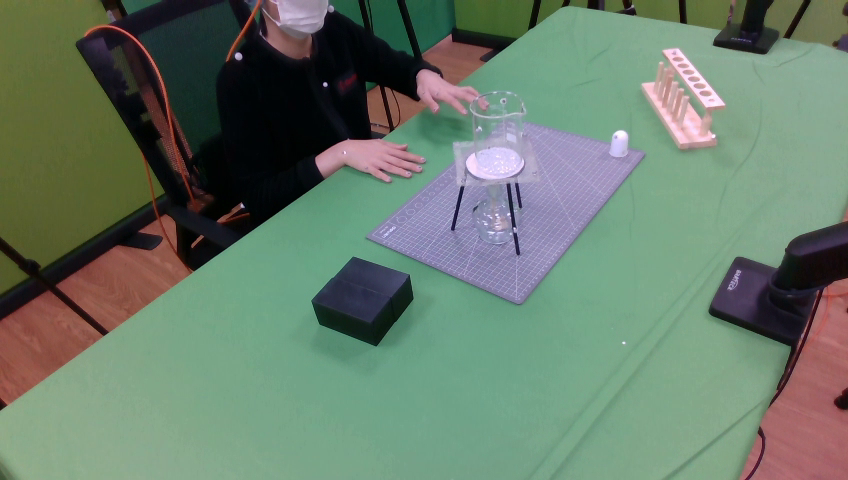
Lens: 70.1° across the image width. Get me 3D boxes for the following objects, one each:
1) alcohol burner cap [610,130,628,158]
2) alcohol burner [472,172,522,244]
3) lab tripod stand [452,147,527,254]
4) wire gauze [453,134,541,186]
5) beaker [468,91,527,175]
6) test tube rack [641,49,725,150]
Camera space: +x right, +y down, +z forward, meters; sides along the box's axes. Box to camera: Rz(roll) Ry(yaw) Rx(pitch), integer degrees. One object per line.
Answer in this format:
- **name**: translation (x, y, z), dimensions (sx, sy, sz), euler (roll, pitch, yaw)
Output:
- **alcohol burner cap**: translation (0.359, -0.177, 1.106), dimensions (0.034, 0.048, 0.033), euler (-5, 41, 5)
- **alcohol burner**: translation (0.112, -0.053, 0.942), dimensions (0.078, 0.119, 0.077), euler (-6, 40, 5)
- **lab tripod stand**: translation (0.111, -0.066, 0.943), dimensions (0.148, 0.132, 0.147), euler (-5, 42, 5)
- **wire gauze**: translation (0.106, -0.118, 0.903), dimensions (0.125, 0.011, 0.121), euler (-6, 39, 7)
- **beaker**: translation (0.108, -0.151, 0.865), dimensions (0.083, 0.101, 0.074), euler (16, 47, 26)
- **test tube rack**: translation (0.495, -0.279, 1.175), dimensions (0.067, 0.085, 0.241), euler (-5, 41, 3)
